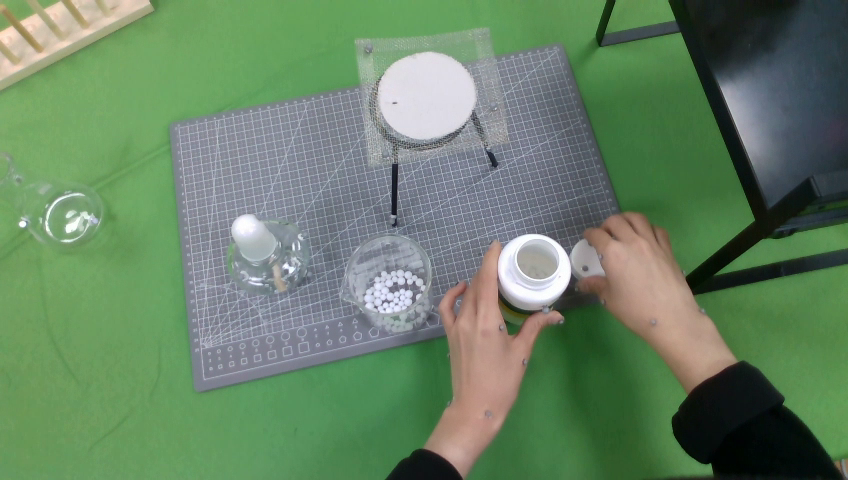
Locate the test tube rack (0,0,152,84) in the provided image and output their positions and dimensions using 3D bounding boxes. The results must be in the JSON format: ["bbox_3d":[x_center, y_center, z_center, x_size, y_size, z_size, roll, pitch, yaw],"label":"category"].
[{"bbox_3d":[-0.446,-0.257,0.677,0.242,0.086,0.066,-32,74,-9],"label":"test tube rack"}]

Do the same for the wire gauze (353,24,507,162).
[{"bbox_3d":[0.004,-0.131,0.523,0.121,0.011,0.124,-7,72,-2],"label":"wire gauze"}]

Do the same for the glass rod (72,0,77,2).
[{"bbox_3d":[-0.409,-0.321,0.627,0.008,0.201,0.008,1,69,-2],"label":"glass rod"}]

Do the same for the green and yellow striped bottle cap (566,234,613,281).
[{"bbox_3d":[0.164,0.017,0.598,0.045,0.020,0.045,-1,73,5],"label":"green and yellow striped bottle cap"}]

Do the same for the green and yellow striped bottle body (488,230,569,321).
[{"bbox_3d":[0.092,0.031,0.544,0.063,0.120,0.063,-1,71,2],"label":"green and yellow striped bottle body"}]

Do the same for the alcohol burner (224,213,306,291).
[{"bbox_3d":[-0.152,0.005,0.564,0.078,0.120,0.077,0,70,0],"label":"alcohol burner"}]

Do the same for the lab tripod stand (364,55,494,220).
[{"bbox_3d":[0.000,-0.103,0.585,0.148,0.132,0.147,0,70,1],"label":"lab tripod stand"}]

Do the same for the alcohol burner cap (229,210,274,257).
[{"bbox_3d":[-0.154,-0.008,0.530,0.034,0.048,0.033,0,64,0],"label":"alcohol burner cap"}]

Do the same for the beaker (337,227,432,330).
[{"bbox_3d":[-0.032,0.042,0.556,0.084,0.101,0.073,-23,72,-5],"label":"beaker"}]

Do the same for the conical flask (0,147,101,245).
[{"bbox_3d":[-0.380,-0.047,0.587,0.075,0.122,0.075,-1,71,2],"label":"conical flask"}]
